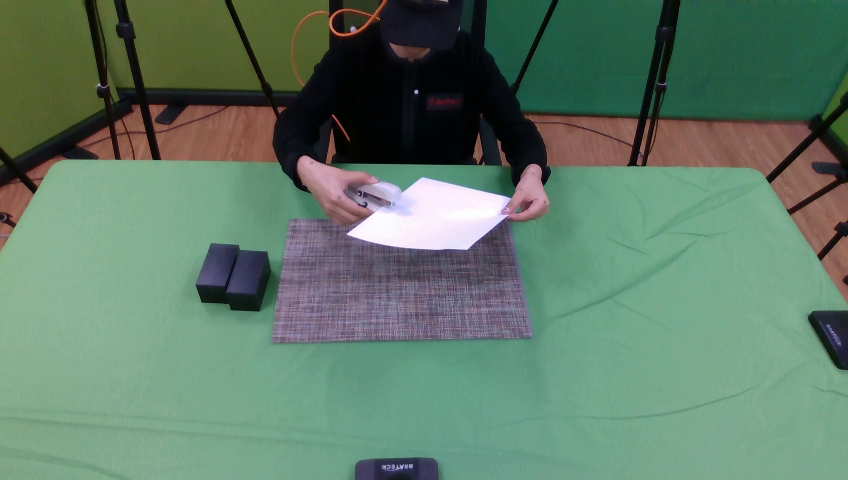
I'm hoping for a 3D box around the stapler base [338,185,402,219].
[{"bbox_3d":[-0.095,-0.077,1.102,0.130,0.024,0.041,28,28,25],"label":"stapler base"}]

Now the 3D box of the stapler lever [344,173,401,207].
[{"bbox_3d":[-0.091,-0.097,1.091,0.117,0.040,0.027,30,29,24],"label":"stapler lever"}]
